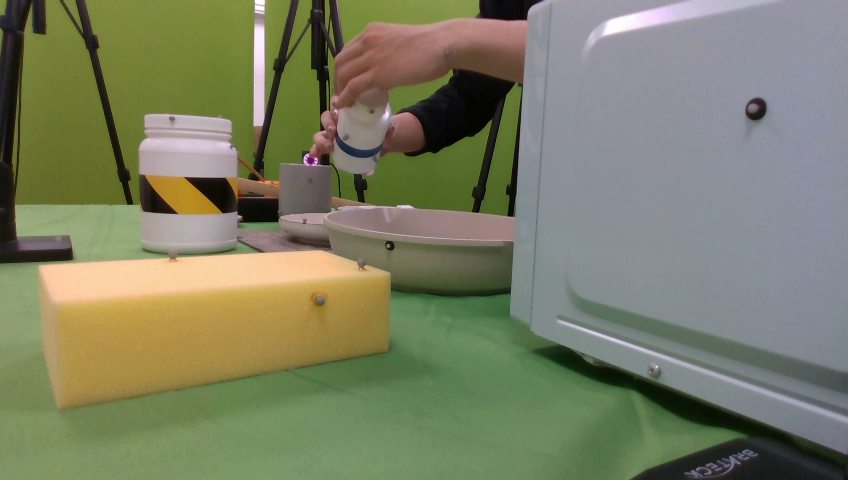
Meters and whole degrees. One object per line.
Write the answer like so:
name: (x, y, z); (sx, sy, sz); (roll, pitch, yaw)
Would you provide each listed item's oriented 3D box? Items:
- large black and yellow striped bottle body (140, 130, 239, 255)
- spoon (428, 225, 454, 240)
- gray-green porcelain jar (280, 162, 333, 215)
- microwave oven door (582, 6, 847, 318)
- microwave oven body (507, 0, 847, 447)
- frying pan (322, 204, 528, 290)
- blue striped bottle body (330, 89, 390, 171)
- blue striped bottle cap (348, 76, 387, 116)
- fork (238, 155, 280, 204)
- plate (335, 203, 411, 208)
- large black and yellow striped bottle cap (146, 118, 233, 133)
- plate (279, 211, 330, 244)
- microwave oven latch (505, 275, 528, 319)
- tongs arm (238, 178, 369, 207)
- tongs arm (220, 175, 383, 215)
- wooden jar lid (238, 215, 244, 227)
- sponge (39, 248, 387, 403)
large black and yellow striped bottle body: (-0.336, -0.078, 0.871); (0.131, 0.184, 0.130); (2, 8, 0)
spoon: (0.024, -0.019, 1.124); (0.042, 0.021, 0.193); (-16, 9, -4)
gray-green porcelain jar: (-0.238, -0.092, 1.221); (0.106, 0.126, 0.106); (2, 7, 0)
microwave oven door: (0.295, -0.067, 0.569); (0.358, 0.243, 0.039); (-3, 8, -31)
microwave oven body: (0.331, -0.042, 0.425); (0.444, 0.260, 0.324); (-2, 8, -31)
frying pan: (0.109, -0.018, 0.799); (0.490, 0.102, 0.305); (-12, 16, -30)
blue striped bottle body: (-0.079, -0.142, 0.746); (0.063, 0.063, 0.120); (-1, -26, -16)
blue striped bottle cap: (-0.065, -0.167, 0.699); (0.045, 0.044, 0.020); (0, -28, -12)
fork: (-0.396, -0.143, 1.486); (0.028, 0.018, 0.208); (19, -26, 45)
plate: (-0.089, -0.053, 1.309); (0.208, 0.039, 0.207); (2, 8, 0)
large black and yellow striped bottle cap: (-0.333, -0.163, 0.861); (0.115, 0.019, 0.115); (1, 9, 0)
plate: (-0.139, -0.022, 1.021); (0.209, 0.038, 0.209); (2, 8, 0)
microwave oven latch: (0.100, 0.041, 0.471); (0.079, 0.029, 0.030); (-1, 7, -28)
tongs arm: (-0.241, -0.095, 1.374); (0.387, 0.026, 0.050); (9, 1, -37)
tongs arm: (-0.285, -0.105, 1.445); (0.389, 0.027, 0.028); (10, -3, -23)
wooden jar lid: (-0.404, -0.037, 1.169); (0.108, 0.020, 0.108); (3, 7, 0)
sponge: (-0.142, 0.047, 0.420); (0.208, 0.061, 0.117); (-3, 8, -37)
